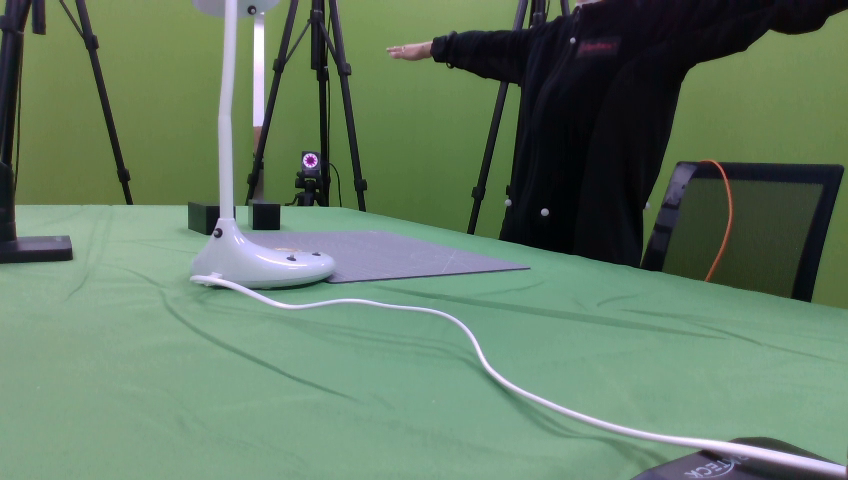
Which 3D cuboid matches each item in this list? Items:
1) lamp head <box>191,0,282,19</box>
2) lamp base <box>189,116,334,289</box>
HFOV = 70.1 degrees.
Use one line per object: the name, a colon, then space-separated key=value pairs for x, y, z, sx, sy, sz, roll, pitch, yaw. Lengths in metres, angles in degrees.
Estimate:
lamp head: x=-0.222 y=-0.330 z=0.689 sx=0.112 sy=0.112 sz=0.123 roll=3 pitch=-33 yaw=-4
lamp base: x=-0.185 y=-0.044 z=0.669 sx=0.160 sy=0.180 sz=0.179 roll=3 pitch=10 yaw=14
